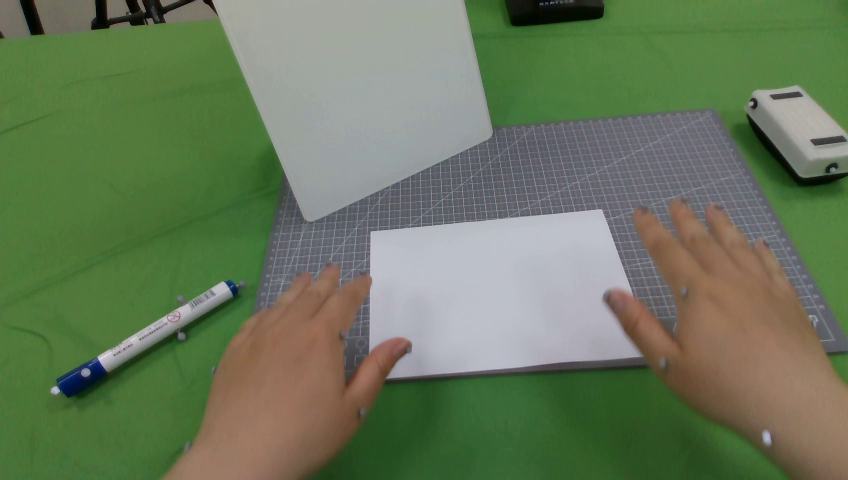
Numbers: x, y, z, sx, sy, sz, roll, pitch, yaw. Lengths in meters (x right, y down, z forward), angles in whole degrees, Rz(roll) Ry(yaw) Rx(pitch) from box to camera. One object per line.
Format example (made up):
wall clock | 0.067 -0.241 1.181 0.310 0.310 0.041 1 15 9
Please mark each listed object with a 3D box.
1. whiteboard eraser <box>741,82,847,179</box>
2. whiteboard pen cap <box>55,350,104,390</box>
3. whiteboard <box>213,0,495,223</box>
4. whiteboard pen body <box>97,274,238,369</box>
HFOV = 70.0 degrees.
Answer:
whiteboard eraser | 0.352 -0.103 0.572 0.055 0.042 0.111 -10 48 -1
whiteboard pen cap | -0.257 0.097 0.457 0.033 0.018 0.018 -35 53 -25
whiteboard | -0.087 -0.212 0.576 0.217 0.308 0.142 -27 30 -17
whiteboard pen body | -0.213 0.069 0.481 0.141 0.017 0.017 -34 53 -25
